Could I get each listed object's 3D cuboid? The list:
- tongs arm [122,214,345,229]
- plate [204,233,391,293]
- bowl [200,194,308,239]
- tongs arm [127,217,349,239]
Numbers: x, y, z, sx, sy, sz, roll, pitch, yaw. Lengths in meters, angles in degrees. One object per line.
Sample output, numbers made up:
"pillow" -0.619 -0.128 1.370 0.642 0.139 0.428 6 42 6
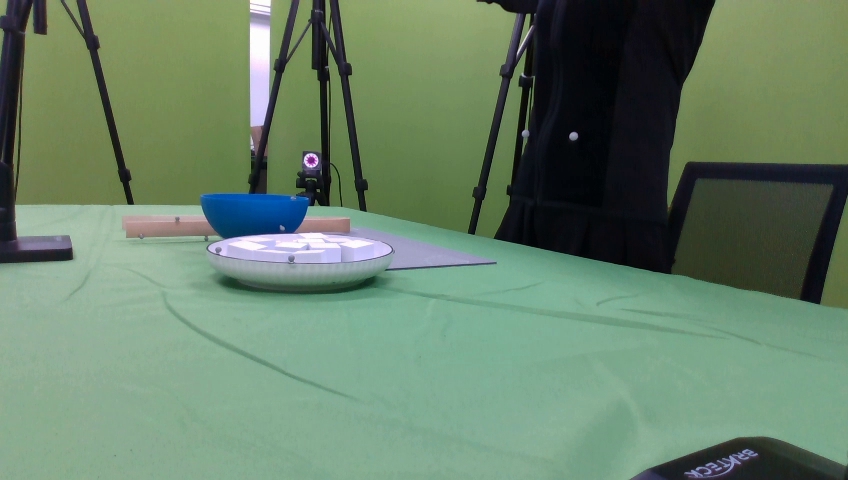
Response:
"tongs arm" -0.336 -0.032 1.103 0.389 0.027 0.028 0 1 -19
"plate" -0.143 0.025 0.697 0.208 0.039 0.207 3 9 0
"bowl" -0.245 -0.025 0.879 0.151 0.077 0.151 2 7 0
"tongs arm" -0.294 -0.023 1.027 0.387 0.026 0.050 -3 5 -34
